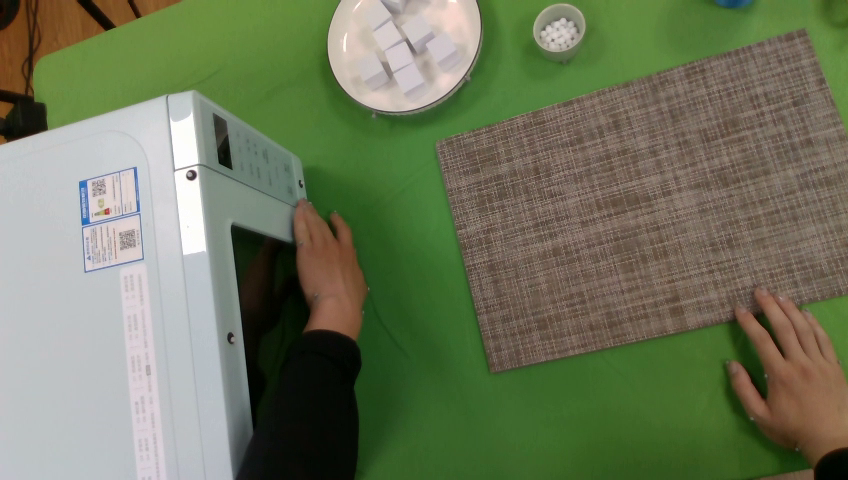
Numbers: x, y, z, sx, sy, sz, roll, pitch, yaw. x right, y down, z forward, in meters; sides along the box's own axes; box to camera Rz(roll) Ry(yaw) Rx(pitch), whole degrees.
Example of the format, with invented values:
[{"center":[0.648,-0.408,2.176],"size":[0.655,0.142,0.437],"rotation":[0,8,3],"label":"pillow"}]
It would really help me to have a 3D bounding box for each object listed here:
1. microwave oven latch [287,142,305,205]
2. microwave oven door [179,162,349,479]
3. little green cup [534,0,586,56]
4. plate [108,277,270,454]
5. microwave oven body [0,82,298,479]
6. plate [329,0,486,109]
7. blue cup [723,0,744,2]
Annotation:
[{"center":[-0.174,-0.084,0.784],"size":[0.030,0.029,0.079],"rotation":[-10,81,12],"label":"microwave oven latch"},{"center":[-0.164,0.115,0.651],"size":[0.039,0.245,0.354],"rotation":[-12,80,12],"label":"microwave oven door"},{"center":[0.167,-0.258,0.743],"size":[0.061,0.039,0.061],"rotation":[-2,82,14],"label":"little green cup"},{"center":[-0.279,0.149,0.732],"size":[0.208,0.038,0.208],"rotation":[-2,83,12],"label":"plate"},{"center":[-0.309,0.105,0.693],"size":[0.325,0.261,0.440],"rotation":[-12,81,11],"label":"microwave oven body"},{"center":[-0.020,-0.268,0.790],"size":[0.207,0.039,0.207],"rotation":[-2,82,14],"label":"plate"},{"center":[0.358,-0.316,0.672],"size":[0.092,0.100,0.092],"rotation":[-1,84,13],"label":"blue cup"}]
